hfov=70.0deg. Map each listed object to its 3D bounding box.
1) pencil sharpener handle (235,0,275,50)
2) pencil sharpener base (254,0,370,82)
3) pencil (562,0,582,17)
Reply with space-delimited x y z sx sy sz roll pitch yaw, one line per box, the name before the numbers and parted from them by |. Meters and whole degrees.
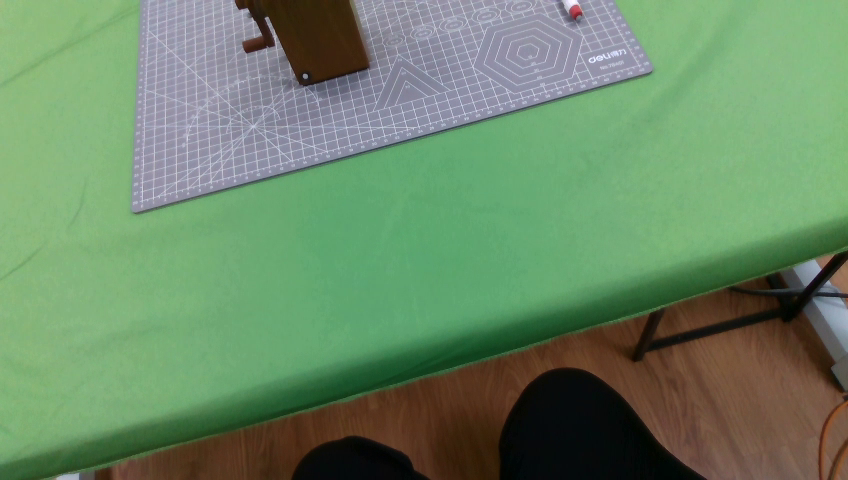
pencil sharpener handle | -0.148 -0.189 0.507 0.030 0.068 0.035 -17 59 0
pencil sharpener base | -0.098 -0.198 0.518 0.077 0.108 0.061 -17 59 0
pencil | 0.109 -0.277 0.585 0.012 0.012 0.192 -18 58 -1
